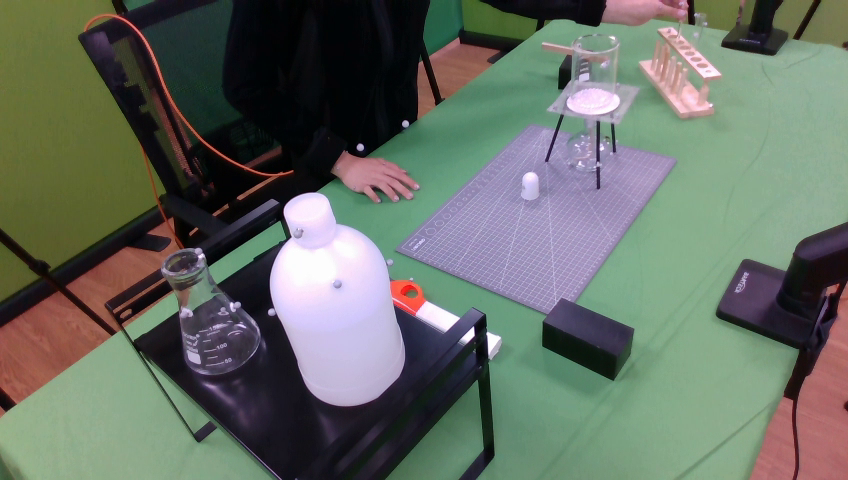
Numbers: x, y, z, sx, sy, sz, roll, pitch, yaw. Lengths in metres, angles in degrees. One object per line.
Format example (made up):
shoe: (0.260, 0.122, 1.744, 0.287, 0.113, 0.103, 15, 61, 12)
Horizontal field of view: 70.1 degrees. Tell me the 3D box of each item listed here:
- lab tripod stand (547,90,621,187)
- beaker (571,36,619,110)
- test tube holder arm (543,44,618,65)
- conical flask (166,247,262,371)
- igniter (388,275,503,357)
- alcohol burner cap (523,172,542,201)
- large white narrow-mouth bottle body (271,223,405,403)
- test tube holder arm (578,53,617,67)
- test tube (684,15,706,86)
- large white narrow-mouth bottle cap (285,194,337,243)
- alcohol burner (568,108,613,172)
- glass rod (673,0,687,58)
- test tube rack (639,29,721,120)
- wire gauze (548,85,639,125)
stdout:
lab tripod stand: (0.289, -0.184, 1.062, 0.148, 0.132, 0.147, -6, 41, 6)
beaker: (0.281, -0.273, 0.992, 0.084, 0.101, 0.073, -24, 42, -16)
test tube holder arm: (0.344, -0.412, 1.340, 0.177, 0.015, 0.013, 24, 50, 31)
conical flask: (-0.209, 0.064, 0.584, 0.075, 0.122, 0.075, -5, 40, 4)
igniter: (-0.008, 0.093, 0.870, 0.274, 0.025, 0.057, 24, 60, 33)
alcohol burner cap: (0.186, -0.096, 1.047, 0.034, 0.048, 0.033, -6, 37, 5)
large white narrow-mouth bottle body: (-0.077, 0.048, 0.525, 0.102, 0.195, 0.101, -5, 40, 5)
test tube holder arm: (0.375, -0.393, 1.314, 0.087, 0.015, 0.010, 25, 51, 32)
test tube: (0.541, -0.378, 1.215, 0.017, 0.151, 0.017, -2, 44, 3)
large white narrow-mouth bottle cap: (-0.087, -0.017, 0.468, 0.038, 0.024, 0.037, -5, 40, 4)
alcohol burner: (0.296, -0.182, 1.074, 0.078, 0.119, 0.077, -5, 43, 5)
glass rod: (0.531, -0.437, 1.258, 0.008, 0.200, 0.008, -2, 36, 2)
test tube rack: (0.527, -0.351, 1.262, 0.067, 0.085, 0.241, -8, 40, 1)
wire gauze: (0.286, -0.233, 1.020, 0.124, 0.011, 0.122, 15, 43, 30)
